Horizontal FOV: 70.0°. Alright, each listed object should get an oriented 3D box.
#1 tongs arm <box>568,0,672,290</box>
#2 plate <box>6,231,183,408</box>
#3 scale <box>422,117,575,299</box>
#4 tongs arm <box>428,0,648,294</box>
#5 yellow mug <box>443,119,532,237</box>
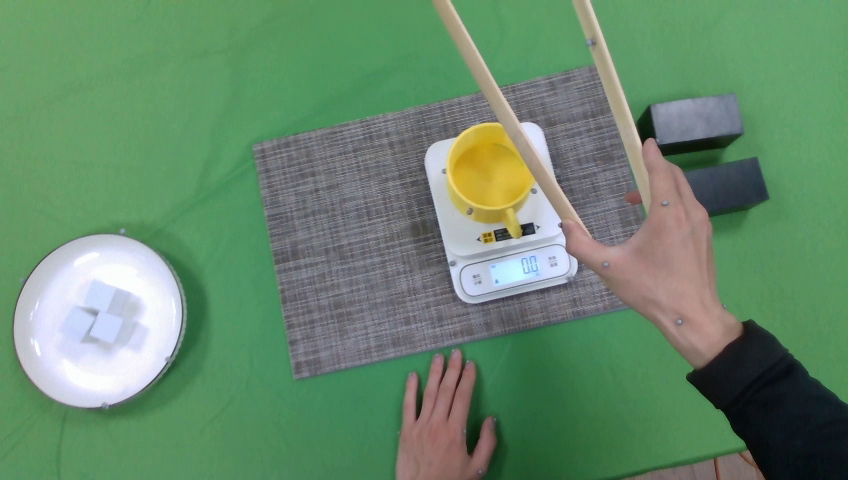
[{"bbox_3d":[0.136,-0.144,0.521,0.051,0.026,0.384,-20,87,-12],"label":"tongs arm"},{"bbox_3d":[-0.387,0.094,0.726,0.207,0.039,0.207,0,81,2],"label":"plate"},{"bbox_3d":[0.087,-0.039,0.722,0.149,0.031,0.200,-13,81,1],"label":"scale"},{"bbox_3d":[0.071,-0.115,0.508,0.028,0.028,0.387,-31,89,-16],"label":"tongs arm"},{"bbox_3d":[0.077,-0.064,0.679,0.100,0.064,0.130,-23,81,-2],"label":"yellow mug"}]
